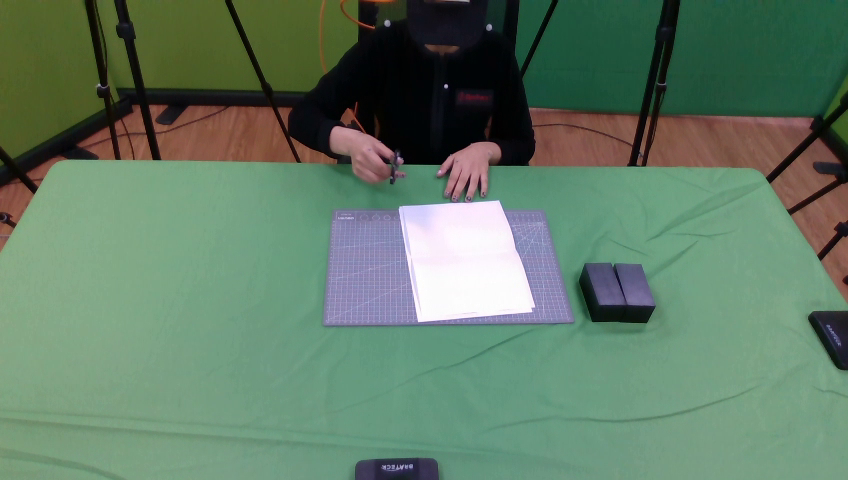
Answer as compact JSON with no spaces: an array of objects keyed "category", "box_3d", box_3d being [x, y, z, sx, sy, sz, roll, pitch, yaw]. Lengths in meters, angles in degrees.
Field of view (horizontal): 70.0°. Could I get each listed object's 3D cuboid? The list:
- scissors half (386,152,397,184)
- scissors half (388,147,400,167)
[{"category":"scissors half","box_3d":[-0.065,-0.141,1.164,0.013,0.175,0.040,17,80,2]},{"category":"scissors half","box_3d":[-0.060,-0.161,1.165,0.013,0.040,0.175,11,7,1]}]
